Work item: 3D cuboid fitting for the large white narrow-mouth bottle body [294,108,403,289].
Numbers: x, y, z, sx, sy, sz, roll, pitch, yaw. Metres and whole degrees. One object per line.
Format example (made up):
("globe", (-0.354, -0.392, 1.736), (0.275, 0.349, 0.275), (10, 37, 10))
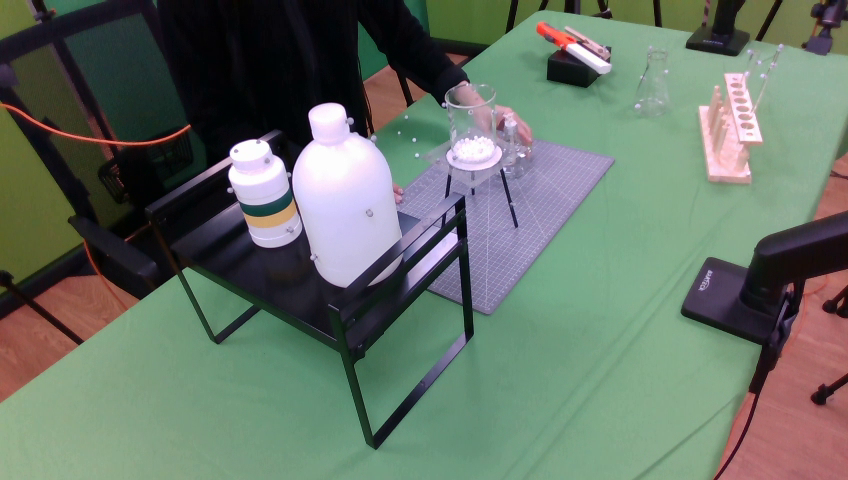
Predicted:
("large white narrow-mouth bottle body", (-0.082, -0.047, 0.634), (0.102, 0.195, 0.101), (-4, 40, 4))

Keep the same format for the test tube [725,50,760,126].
("test tube", (0.570, -0.269, 1.086), (0.017, 0.151, 0.017), (-1, 45, 2))

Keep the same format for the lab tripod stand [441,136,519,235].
("lab tripod stand", (0.083, -0.086, 0.976), (0.148, 0.132, 0.147), (-4, 42, 4))

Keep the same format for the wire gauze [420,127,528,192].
("wire gauze", (0.076, -0.131, 0.927), (0.122, 0.011, 0.124), (-34, 49, -25))

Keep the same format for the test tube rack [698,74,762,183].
("test tube rack", (0.547, -0.208, 1.095), (0.066, 0.085, 0.242), (5, 42, 15))

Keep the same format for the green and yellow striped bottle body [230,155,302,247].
("green and yellow striped bottle body", (-0.188, -0.055, 0.714), (0.063, 0.120, 0.063), (-4, 41, 4))

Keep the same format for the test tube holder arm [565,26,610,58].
("test tube holder arm", (0.369, -0.450, 1.373), (0.013, 0.015, 0.177), (-39, 41, 10))

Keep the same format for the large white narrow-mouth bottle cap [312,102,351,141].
("large white narrow-mouth bottle cap", (-0.089, -0.114, 0.579), (0.038, 0.024, 0.037), (-3, 39, 3))

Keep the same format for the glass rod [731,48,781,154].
("glass rod", (0.554, -0.228, 1.014), (0.008, 0.200, 0.008), (1, 44, 0))

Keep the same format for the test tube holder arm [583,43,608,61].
("test tube holder arm", (0.379, -0.420, 1.341), (0.010, 0.015, 0.087), (-39, 41, 10))

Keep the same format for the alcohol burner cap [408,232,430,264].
("alcohol burner cap", (-0.009, 0.010, 0.947), (0.034, 0.048, 0.033), (-4, 40, 4))

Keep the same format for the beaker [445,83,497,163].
("beaker", (0.073, -0.175, 0.904), (0.074, 0.101, 0.084), (3, 41, 13))

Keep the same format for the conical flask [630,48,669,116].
("conical flask", (0.456, -0.317, 1.205), (0.075, 0.122, 0.075), (-4, 41, 4))

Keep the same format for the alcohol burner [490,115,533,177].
("alcohol burner", (0.157, -0.173, 1.083), (0.078, 0.119, 0.077), (-4, 43, 4))

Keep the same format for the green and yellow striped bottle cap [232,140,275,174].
("green and yellow striped bottle cap", (-0.192, -0.094, 0.680), (0.045, 0.020, 0.045), (-5, 39, 5))

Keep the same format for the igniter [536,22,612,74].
("igniter", (0.330, -0.439, 1.366), (0.057, 0.025, 0.274), (-11, 41, -20))
